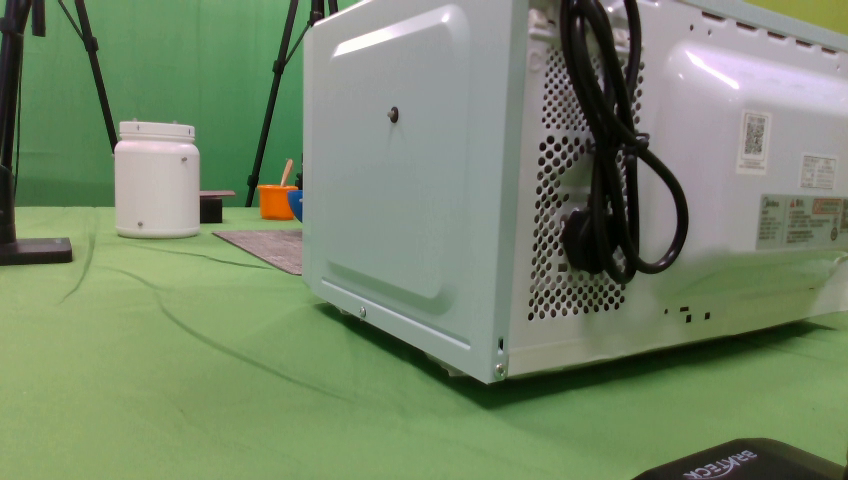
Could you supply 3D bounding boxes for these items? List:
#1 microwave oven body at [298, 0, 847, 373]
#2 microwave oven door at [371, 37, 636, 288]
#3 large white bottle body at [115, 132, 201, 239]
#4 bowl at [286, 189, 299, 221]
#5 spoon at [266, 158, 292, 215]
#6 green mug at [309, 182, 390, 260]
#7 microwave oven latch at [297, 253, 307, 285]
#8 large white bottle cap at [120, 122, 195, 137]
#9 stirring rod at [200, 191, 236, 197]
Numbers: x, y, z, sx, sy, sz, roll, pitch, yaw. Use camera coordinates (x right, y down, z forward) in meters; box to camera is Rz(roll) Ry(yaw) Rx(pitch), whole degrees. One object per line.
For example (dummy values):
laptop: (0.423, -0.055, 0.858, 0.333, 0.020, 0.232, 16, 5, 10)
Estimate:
microwave oven body: (0.151, -0.055, 0.543, 0.444, 0.260, 0.324, -1, 7, -33)
microwave oven door: (0.109, -0.080, 0.687, 0.358, 0.243, 0.039, -2, 9, -33)
large white bottle body: (-0.447, -0.100, 1.020, 0.131, 0.184, 0.130, 3, 7, 0)
bowl: (-0.179, -0.051, 1.115, 0.151, 0.077, 0.151, 3, 8, 0)
spoon: (-0.334, -0.127, 1.423, 0.041, 0.193, 0.022, 0, -37, 7)
green mug: (-0.102, -0.029, 0.864, 0.126, 0.105, 0.092, -4, 9, -40)
microwave oven latch: (-0.082, 0.027, 0.582, 0.079, 0.029, 0.030, -1, 7, -33)
large white bottle cap: (-0.444, -0.183, 1.010, 0.115, 0.018, 0.115, 2, 7, 0)
stirring rod: (-0.466, -0.098, 1.283, 0.014, 0.006, 0.177, 42, 21, 17)
